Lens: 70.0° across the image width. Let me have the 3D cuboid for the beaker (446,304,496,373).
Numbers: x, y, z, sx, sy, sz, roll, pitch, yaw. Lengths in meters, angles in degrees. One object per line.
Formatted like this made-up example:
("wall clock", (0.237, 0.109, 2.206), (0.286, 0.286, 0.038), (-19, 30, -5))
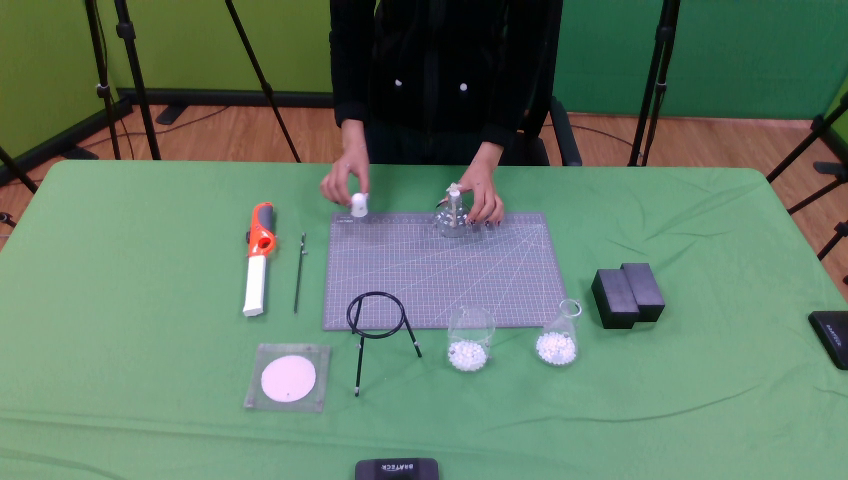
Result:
("beaker", (0.072, 0.166, 0.992), (0.084, 0.101, 0.073), (-21, 51, -22))

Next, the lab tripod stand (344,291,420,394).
("lab tripod stand", (-0.075, 0.155, 0.967), (0.148, 0.132, 0.147), (3, 44, -3))

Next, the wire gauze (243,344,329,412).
("wire gauze", (-0.221, 0.219, 0.981), (0.125, 0.011, 0.120), (2, 45, 0))

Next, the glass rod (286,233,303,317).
("glass rod", (-0.241, 0.061, 1.135), (0.008, 0.008, 0.198), (1, 48, -2))

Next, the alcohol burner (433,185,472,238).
("alcohol burner", (0.056, -0.062, 1.197), (0.078, 0.120, 0.077), (1, 47, -1))

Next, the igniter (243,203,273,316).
("igniter", (-0.315, 0.027, 1.145), (0.057, 0.025, 0.274), (-10, 47, 0))

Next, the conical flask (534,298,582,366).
("conical flask", (0.229, 0.149, 1.005), (0.075, 0.122, 0.075), (2, 46, -2))

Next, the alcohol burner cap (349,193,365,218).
("alcohol burner cap", (-0.132, -0.069, 1.182), (0.034, 0.048, 0.033), (1, 48, -1))
